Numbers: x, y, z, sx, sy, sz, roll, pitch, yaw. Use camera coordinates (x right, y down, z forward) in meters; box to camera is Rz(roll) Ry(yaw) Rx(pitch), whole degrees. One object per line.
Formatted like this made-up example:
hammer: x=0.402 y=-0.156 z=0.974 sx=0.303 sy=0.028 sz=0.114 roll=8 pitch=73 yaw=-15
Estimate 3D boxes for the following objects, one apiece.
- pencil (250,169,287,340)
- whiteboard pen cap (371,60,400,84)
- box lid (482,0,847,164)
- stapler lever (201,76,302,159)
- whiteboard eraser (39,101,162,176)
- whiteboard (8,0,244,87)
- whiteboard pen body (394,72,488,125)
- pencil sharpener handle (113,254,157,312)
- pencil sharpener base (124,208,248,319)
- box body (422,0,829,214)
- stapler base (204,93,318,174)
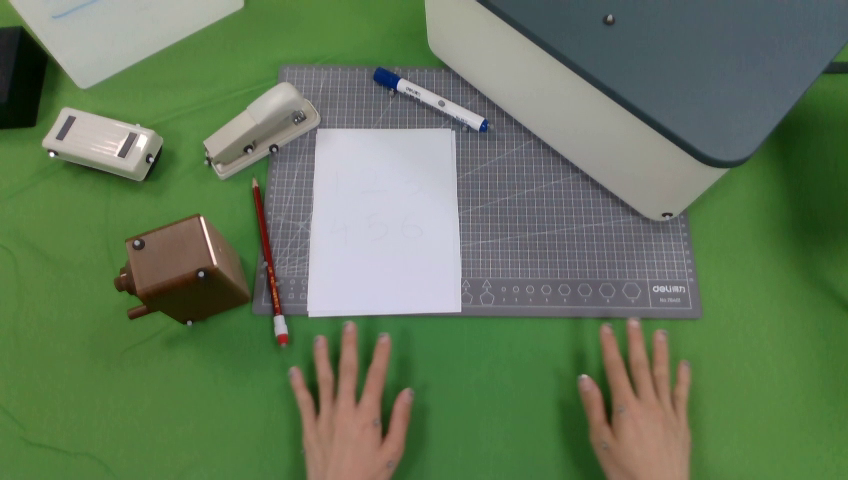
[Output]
pencil: x=-0.163 y=0.010 z=0.624 sx=0.012 sy=0.012 sz=0.192 roll=-14 pitch=71 yaw=-5
whiteboard pen cap: x=-0.043 y=-0.190 z=0.689 sx=0.033 sy=0.018 sz=0.018 roll=29 pitch=72 yaw=12
box lid: x=0.198 y=-0.259 z=0.561 sx=0.369 sy=0.015 sz=0.263 roll=41 pitch=75 yaw=12
stapler lever: x=-0.183 y=-0.131 z=0.640 sx=0.118 sy=0.040 sz=0.026 roll=-33 pitch=69 yaw=-8
whiteboard eraser: x=-0.344 y=-0.107 z=0.650 sx=0.112 sy=0.042 sz=0.055 roll=16 pitch=73 yaw=5
whiteboard: x=-0.371 y=-0.364 z=0.634 sx=0.217 sy=0.308 sz=0.142 roll=-32 pitch=54 yaw=-10
whiteboard pen body: x=0.008 y=-0.164 z=0.677 sx=0.140 sy=0.017 sz=0.017 roll=28 pitch=72 yaw=12
pencil sharpener handle: x=-0.267 y=0.043 z=0.548 sx=0.030 sy=0.068 sz=0.035 roll=-21 pitch=55 yaw=-7
pencil sharpener base: x=-0.221 y=0.026 z=0.568 sx=0.077 sy=0.107 sz=0.061 roll=-21 pitch=72 yaw=-7
box body: x=0.200 y=-0.231 z=0.630 sx=0.362 sy=0.161 sz=0.254 roll=41 pitch=75 yaw=13
stapler base: x=-0.180 y=-0.123 z=0.664 sx=0.130 sy=0.024 sz=0.041 roll=-33 pitch=69 yaw=-8
